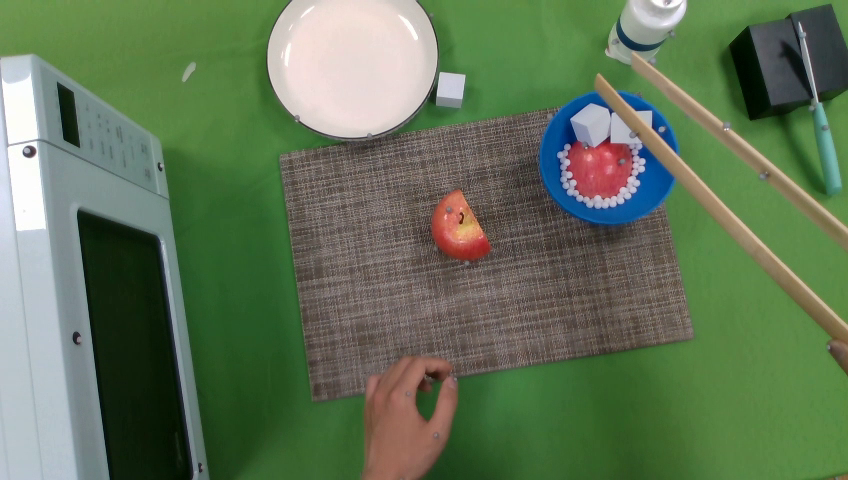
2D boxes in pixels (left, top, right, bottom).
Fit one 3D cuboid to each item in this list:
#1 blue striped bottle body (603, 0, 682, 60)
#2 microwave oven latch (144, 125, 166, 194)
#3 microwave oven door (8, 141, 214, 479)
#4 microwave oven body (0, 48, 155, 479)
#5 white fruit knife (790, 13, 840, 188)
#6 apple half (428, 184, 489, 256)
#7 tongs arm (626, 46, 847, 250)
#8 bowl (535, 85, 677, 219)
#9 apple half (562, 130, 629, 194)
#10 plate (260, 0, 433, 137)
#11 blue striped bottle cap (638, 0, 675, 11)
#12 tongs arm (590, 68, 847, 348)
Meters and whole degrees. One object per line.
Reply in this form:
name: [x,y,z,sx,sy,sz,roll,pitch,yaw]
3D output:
blue striped bottle body: [0.252,-0.260,0.694,0.063,0.121,0.063,0,82,2]
microwave oven latch: [-0.326,-0.092,0.711,0.030,0.029,0.079,-11,84,0]
microwave oven door: [-0.289,0.108,0.585,0.039,0.244,0.354,-12,83,0]
microwave oven body: [-0.440,0.096,0.594,0.326,0.261,0.440,-11,84,-1]
white fruit knife: [0.446,-0.157,0.694,0.016,0.027,0.208,-17,100,17]
apple half: [0.033,-0.016,0.691,0.053,0.075,0.080,-30,87,2]
tongs arm: [0.284,-0.032,0.495,0.051,0.027,0.381,-37,64,-4]
bowl: [0.198,-0.092,0.693,0.151,0.077,0.151,0,83,2]
apple half: [0.199,-0.091,0.688,0.081,0.033,0.081,0,82,2]
plate: [-0.093,-0.223,0.740,0.208,0.039,0.207,0,83,1]
blue striped bottle cap: [0.250,-0.268,0.643,0.044,0.020,0.044,0,85,1]
tongs arm: [0.262,-0.017,0.494,0.028,0.028,0.384,-33,64,-6]
